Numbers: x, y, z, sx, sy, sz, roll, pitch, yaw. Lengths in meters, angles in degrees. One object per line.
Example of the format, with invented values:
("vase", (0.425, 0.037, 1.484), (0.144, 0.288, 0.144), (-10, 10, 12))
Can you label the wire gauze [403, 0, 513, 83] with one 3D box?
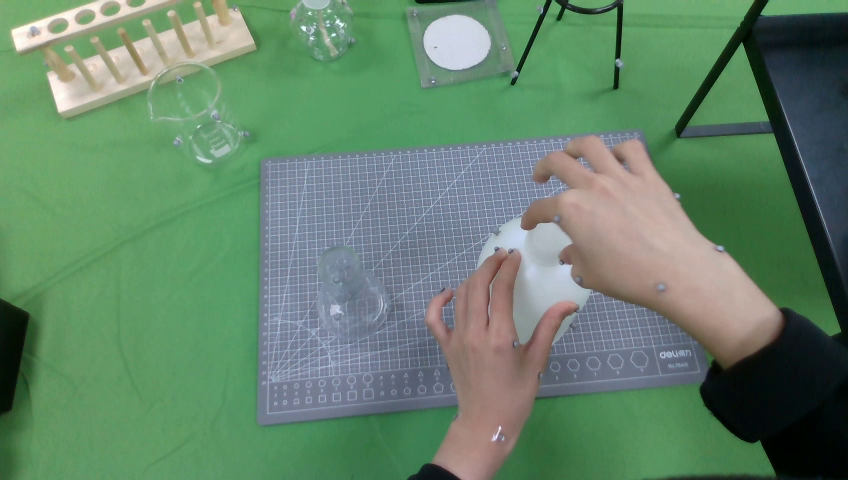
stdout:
("wire gauze", (0.042, -0.259, 0.769), (0.121, 0.011, 0.124), (-9, 68, -6))

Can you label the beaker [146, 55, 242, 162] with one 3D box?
("beaker", (-0.249, -0.137, 0.664), (0.073, 0.101, 0.084), (40, 72, 15))

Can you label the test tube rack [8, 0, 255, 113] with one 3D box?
("test tube rack", (-0.335, -0.241, 0.714), (0.242, 0.086, 0.066), (-24, 70, -10))

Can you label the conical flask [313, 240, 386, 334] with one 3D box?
("conical flask", (-0.077, 0.040, 0.577), (0.075, 0.122, 0.075), (0, 67, 0))

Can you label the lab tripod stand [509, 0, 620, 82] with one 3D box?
("lab tripod stand", (0.174, -0.255, 0.702), (0.148, 0.132, 0.147), (1, 66, -2))

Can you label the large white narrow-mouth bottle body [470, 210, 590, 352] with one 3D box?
("large white narrow-mouth bottle body", (0.095, 0.031, 0.546), (0.102, 0.196, 0.101), (-1, 66, 2))

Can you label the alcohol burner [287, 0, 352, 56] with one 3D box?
("alcohol burner", (-0.126, -0.278, 0.718), (0.078, 0.120, 0.077), (1, 65, -1))

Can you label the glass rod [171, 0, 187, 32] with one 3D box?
("glass rod", (-0.290, -0.303, 0.669), (0.008, 0.201, 0.008), (2, 65, -4))

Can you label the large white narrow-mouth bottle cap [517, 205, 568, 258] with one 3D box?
("large white narrow-mouth bottle cap", (0.091, -0.006, 0.466), (0.038, 0.024, 0.037), (0, 66, 1))

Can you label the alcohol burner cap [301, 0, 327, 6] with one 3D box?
("alcohol burner cap", (-0.126, -0.294, 0.685), (0.034, 0.048, 0.033), (4, 65, -8))
